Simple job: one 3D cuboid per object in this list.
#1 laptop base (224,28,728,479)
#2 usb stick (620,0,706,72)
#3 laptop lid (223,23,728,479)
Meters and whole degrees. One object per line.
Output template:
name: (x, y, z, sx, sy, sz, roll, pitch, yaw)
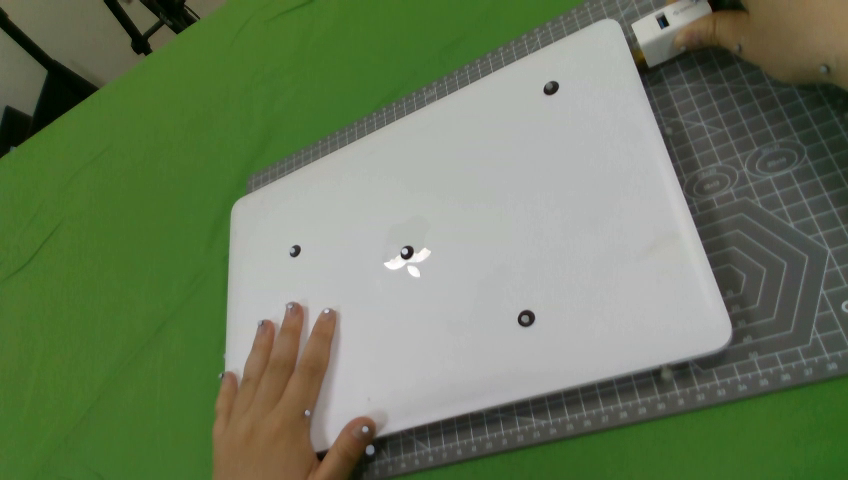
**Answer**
laptop base: (-0.007, 0.017, 0.427, 0.354, 0.023, 0.233, -22, 60, 23)
usb stick: (0.143, -0.126, 0.381, 0.059, 0.027, 0.021, -27, 52, 27)
laptop lid: (-0.012, 0.015, 0.418, 0.356, 0.013, 0.239, -21, 60, 24)
